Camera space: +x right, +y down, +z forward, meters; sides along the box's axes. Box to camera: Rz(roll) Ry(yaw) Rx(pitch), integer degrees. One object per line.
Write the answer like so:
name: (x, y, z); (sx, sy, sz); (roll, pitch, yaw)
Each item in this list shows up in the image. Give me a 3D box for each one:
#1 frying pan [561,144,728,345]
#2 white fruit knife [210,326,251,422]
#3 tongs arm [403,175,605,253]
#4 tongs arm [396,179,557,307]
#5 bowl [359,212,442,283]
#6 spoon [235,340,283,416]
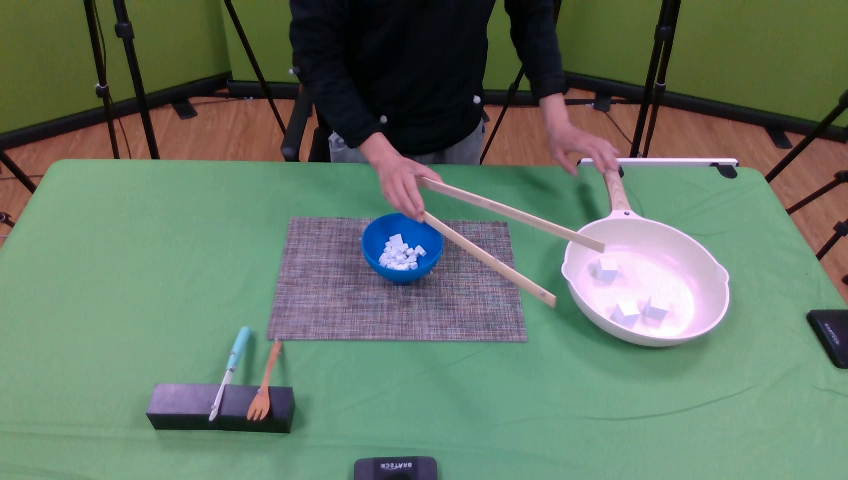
frying pan: (0.397, -0.008, 1.179); (0.307, 0.103, 0.485); (2, 55, -4)
white fruit knife: (-0.300, 0.201, 0.941); (0.016, 0.027, 0.206); (-2, 32, 0)
tongs arm: (0.129, -0.050, 1.057); (0.386, 0.028, 0.028); (22, 57, 26)
tongs arm: (0.078, -0.006, 1.021); (0.382, 0.027, 0.051); (33, 59, 33)
bowl: (-0.044, 0.026, 1.125); (0.151, 0.077, 0.150); (2, 46, -2)
spoon: (-0.244, 0.207, 0.932); (0.042, 0.022, 0.193); (28, 25, -8)
